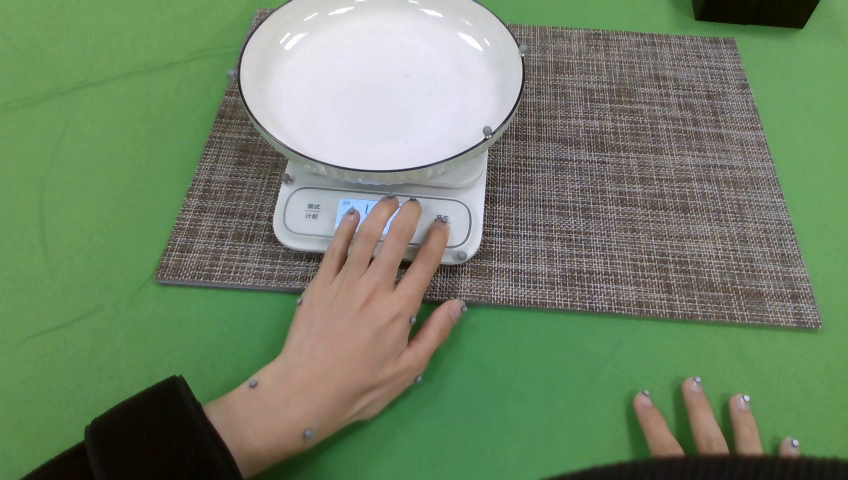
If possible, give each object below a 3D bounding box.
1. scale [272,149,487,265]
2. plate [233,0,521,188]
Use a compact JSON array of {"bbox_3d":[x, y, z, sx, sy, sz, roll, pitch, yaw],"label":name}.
[{"bbox_3d":[-0.026,-0.076,0.465,0.148,0.032,0.199,5,57,3],"label":"scale"},{"bbox_3d":[-0.033,-0.117,0.453,0.208,0.039,0.205,1,56,-1],"label":"plate"}]
